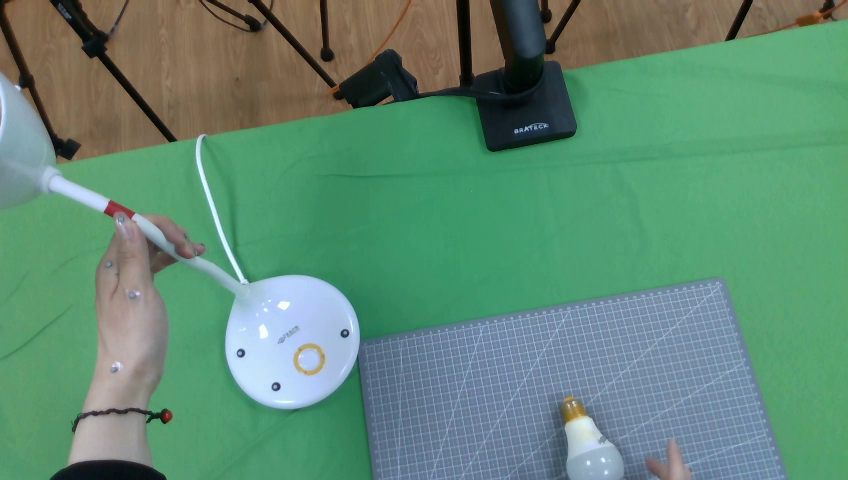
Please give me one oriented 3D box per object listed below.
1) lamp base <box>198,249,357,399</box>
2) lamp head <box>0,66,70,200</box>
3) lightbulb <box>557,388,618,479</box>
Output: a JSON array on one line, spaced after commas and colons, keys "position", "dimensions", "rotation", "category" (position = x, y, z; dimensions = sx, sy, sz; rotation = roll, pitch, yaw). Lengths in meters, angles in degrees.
[{"position": [-0.176, 0.079, 0.659], "dimensions": [0.178, 0.181, 0.160], "rotation": [37, 78, 16], "category": "lamp base"}, {"position": [-0.317, -0.072, 0.424], "dimensions": [0.112, 0.123, 0.112], "rotation": [0, 80, 0], "category": "lamp head"}, {"position": [0.173, 0.214, 0.665], "dimensions": [0.059, 0.060, 0.106], "rotation": [-16, 57, -1], "category": "lightbulb"}]
